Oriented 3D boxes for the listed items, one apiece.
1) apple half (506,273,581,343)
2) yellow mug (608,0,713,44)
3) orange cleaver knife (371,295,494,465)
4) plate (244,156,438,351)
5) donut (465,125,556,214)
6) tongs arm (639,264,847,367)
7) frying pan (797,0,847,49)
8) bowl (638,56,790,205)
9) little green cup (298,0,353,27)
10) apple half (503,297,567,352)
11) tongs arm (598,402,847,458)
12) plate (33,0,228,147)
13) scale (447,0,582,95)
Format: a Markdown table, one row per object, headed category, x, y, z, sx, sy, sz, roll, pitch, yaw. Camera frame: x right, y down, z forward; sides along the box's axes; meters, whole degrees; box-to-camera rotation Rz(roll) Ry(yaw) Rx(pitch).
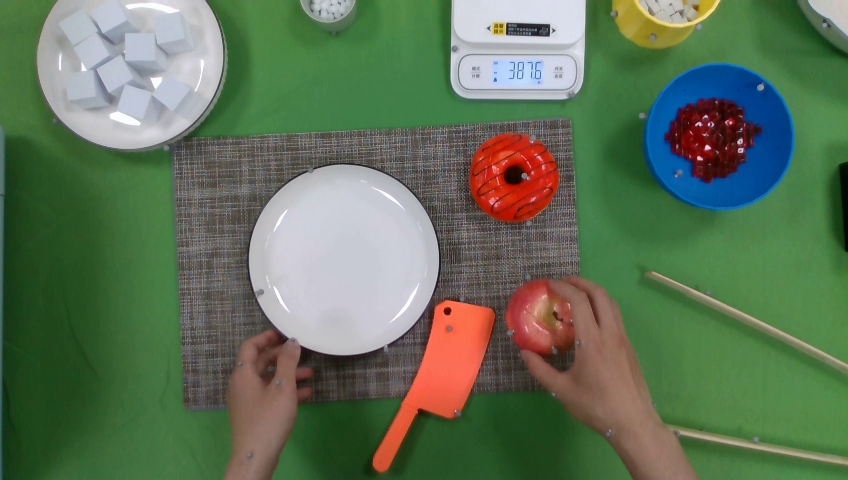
| category | x | y | z | sx | sy | sz | roll | pitch | yaw |
| --- | --- | --- | --- | --- | --- | --- | --- | --- | --- |
| apple half | 0.130 | 0.064 | 0.631 | 0.080 | 0.075 | 0.053 | 38 | 83 | 7 |
| yellow mug | 0.249 | -0.285 | 0.656 | 0.100 | 0.064 | 0.130 | -36 | 88 | 0 |
| orange cleaver knife | 0.009 | 0.156 | 0.668 | 0.077 | 0.012 | 0.211 | 25 | 88 | -4 |
| plate | -0.088 | 0.015 | 0.662 | 0.209 | 0.038 | 0.209 | 0 | 89 | 0 |
| donut | 0.093 | -0.076 | 0.660 | 0.099 | 0.048 | 0.099 | 0 | 89 | 2 |
| tongs arm | 0.412 | 0.119 | 0.663 | 0.387 | 0.028 | 0.028 | 27 | 82 | 1 |
| frying pan | 0.576 | -0.237 | 0.635 | 0.307 | 0.103 | 0.486 | -30 | 81 | 1 |
| bowl | 0.294 | -0.109 | 0.646 | 0.151 | 0.077 | 0.151 | 0 | 89 | 0 |
| little green cup | -0.107 | -0.269 | 0.671 | 0.061 | 0.038 | 0.061 | 0 | 88 | 1 |
| apple half | 0.107 | 0.094 | 0.628 | 0.081 | 0.081 | 0.033 | 39 | 82 | 2 |
| tongs arm | 0.385 | 0.201 | 0.660 | 0.385 | 0.026 | 0.050 | 12 | 85 | 1 |
| plate | -0.318 | -0.204 | 0.671 | 0.208 | 0.039 | 0.207 | 0 | 89 | 0 |
| scale | 0.101 | -0.265 | 0.673 | 0.149 | 0.031 | 0.200 | 1 | 89 | 1 |
